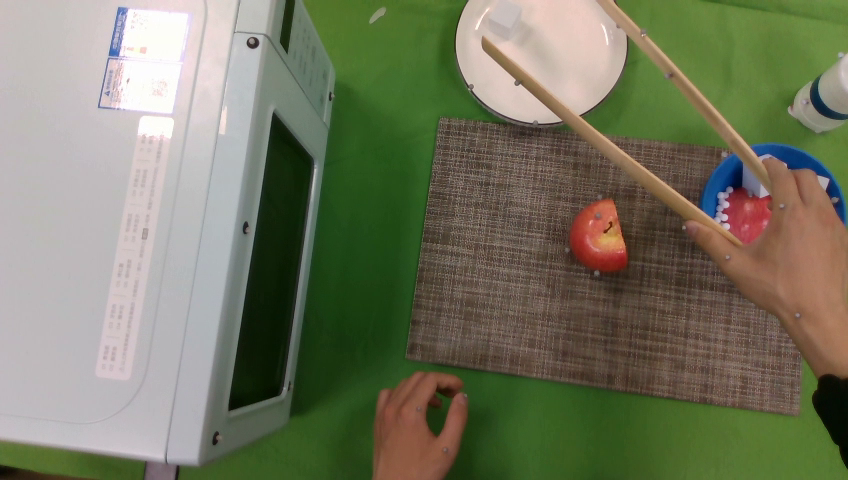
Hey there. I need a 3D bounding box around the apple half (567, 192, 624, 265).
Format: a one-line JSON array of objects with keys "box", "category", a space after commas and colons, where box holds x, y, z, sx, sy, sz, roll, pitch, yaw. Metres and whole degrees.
[{"box": [0.190, -0.010, 0.686, 0.053, 0.075, 0.080, -12, 85, 5], "category": "apple half"}]

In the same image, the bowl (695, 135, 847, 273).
[{"box": [0.370, -0.033, 0.677, 0.151, 0.077, 0.151, -1, 82, 4], "category": "bowl"}]

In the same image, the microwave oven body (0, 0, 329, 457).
[{"box": [-0.301, -0.041, 0.624, 0.326, 0.261, 0.440, 6, 83, 4], "category": "microwave oven body"}]

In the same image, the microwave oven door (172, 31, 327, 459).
[{"box": [-0.160, 0.014, 0.604, 0.039, 0.244, 0.354, 5, 82, 5], "category": "microwave oven door"}]

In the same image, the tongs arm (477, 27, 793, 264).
[{"box": [0.184, -0.105, 0.599, 0.028, 0.028, 0.384, -39, 66, -11], "category": "tongs arm"}]

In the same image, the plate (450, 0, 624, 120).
[{"box": [0.135, -0.244, 0.743, 0.207, 0.039, 0.207, 0, 83, 3], "category": "plate"}]

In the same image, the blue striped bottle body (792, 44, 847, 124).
[{"box": [0.471, -0.178, 0.673, 0.063, 0.121, 0.063, -1, 81, 4], "category": "blue striped bottle body"}]

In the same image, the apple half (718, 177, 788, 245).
[{"box": [0.371, -0.034, 0.672, 0.081, 0.033, 0.081, 0, 82, 3], "category": "apple half"}]

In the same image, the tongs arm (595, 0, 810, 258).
[{"box": [0.244, -0.146, 0.603, 0.051, 0.027, 0.381, -31, 66, -3], "category": "tongs arm"}]

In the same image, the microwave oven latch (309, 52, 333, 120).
[{"box": [-0.128, -0.187, 0.731, 0.030, 0.029, 0.079, 6, 83, 4], "category": "microwave oven latch"}]
